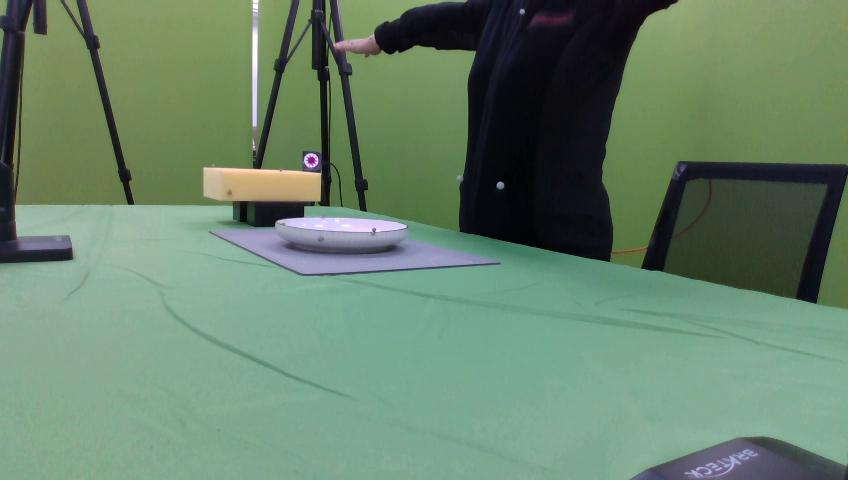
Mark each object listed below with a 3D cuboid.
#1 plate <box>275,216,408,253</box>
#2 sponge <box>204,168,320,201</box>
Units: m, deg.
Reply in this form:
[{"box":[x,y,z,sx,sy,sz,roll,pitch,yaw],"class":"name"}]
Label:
[{"box":[-0.129,-0.009,0.954,0.209,0.038,0.209,2,7,0],"class":"plate"},{"box":[-0.333,-0.114,1.247,0.208,0.061,0.117,-3,9,-36],"class":"sponge"}]
